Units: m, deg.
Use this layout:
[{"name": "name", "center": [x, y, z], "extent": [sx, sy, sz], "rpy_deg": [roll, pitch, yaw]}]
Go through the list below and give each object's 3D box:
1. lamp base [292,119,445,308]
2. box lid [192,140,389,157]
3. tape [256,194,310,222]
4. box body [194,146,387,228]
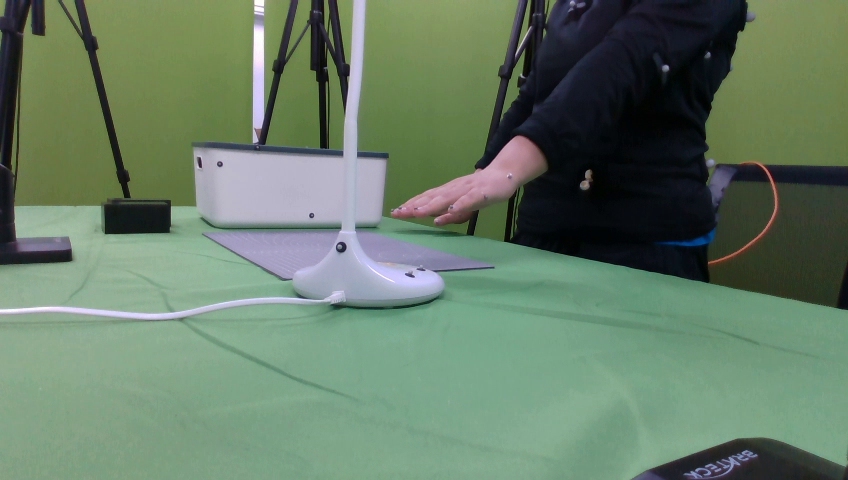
[{"name": "lamp base", "center": [-0.056, -0.030, 0.616], "extent": [0.160, 0.180, 0.179], "rpy_deg": [3, 10, 8]}, {"name": "box lid", "center": [-0.287, -0.190, 1.281], "extent": [0.373, 0.015, 0.262], "rpy_deg": [0, 8, -28]}, {"name": "tape", "center": [-0.301, -0.069, 1.294], "extent": [0.117, 0.052, 0.117], "rpy_deg": [2, 7, 0]}, {"name": "box body", "center": [-0.288, -0.118, 1.291], "extent": [0.366, 0.160, 0.253], "rpy_deg": [-1, 8, -28]}]
